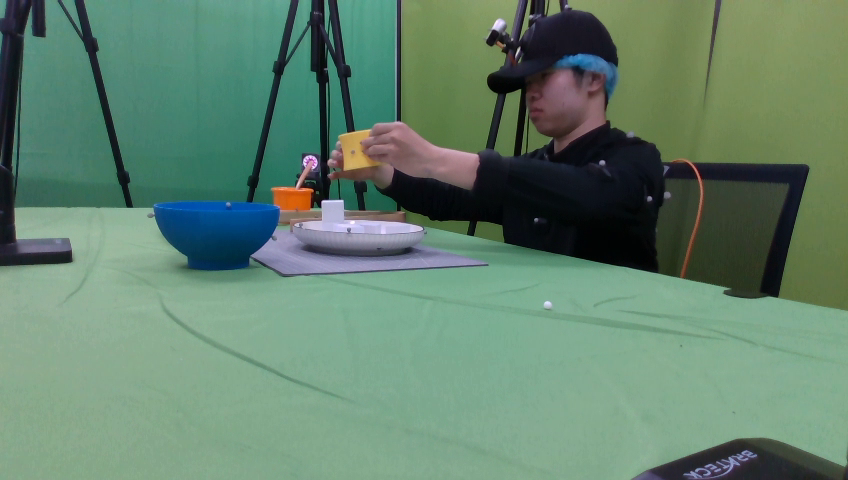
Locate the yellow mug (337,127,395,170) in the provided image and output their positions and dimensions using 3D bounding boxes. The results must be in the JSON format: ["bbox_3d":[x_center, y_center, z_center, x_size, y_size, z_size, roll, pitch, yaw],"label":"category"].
[{"bbox_3d":[-0.101,-0.169,1.110,0.100,0.064,0.130,-13,8,-22],"label":"yellow mug"}]

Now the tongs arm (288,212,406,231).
[{"bbox_3d":[-0.145,-0.041,1.279,0.028,0.028,0.389,2,5,33],"label":"tongs arm"}]

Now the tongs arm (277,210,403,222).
[{"bbox_3d":[-0.206,-0.051,1.332,0.387,0.026,0.050,-2,7,-44],"label":"tongs arm"}]

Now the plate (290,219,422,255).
[{"bbox_3d":[-0.108,-0.005,0.963,0.208,0.039,0.207,3,7,0],"label":"plate"}]

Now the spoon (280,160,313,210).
[{"bbox_3d":[-0.286,-0.118,1.372,0.041,0.193,0.022,3,-37,18],"label":"spoon"}]

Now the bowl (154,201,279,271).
[{"bbox_3d":[-0.263,-0.005,0.773,0.151,0.077,0.151,3,8,0],"label":"bowl"}]
